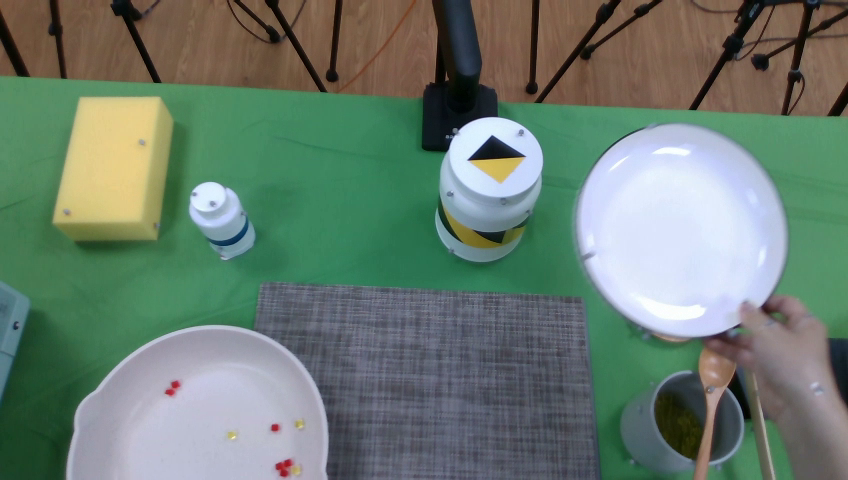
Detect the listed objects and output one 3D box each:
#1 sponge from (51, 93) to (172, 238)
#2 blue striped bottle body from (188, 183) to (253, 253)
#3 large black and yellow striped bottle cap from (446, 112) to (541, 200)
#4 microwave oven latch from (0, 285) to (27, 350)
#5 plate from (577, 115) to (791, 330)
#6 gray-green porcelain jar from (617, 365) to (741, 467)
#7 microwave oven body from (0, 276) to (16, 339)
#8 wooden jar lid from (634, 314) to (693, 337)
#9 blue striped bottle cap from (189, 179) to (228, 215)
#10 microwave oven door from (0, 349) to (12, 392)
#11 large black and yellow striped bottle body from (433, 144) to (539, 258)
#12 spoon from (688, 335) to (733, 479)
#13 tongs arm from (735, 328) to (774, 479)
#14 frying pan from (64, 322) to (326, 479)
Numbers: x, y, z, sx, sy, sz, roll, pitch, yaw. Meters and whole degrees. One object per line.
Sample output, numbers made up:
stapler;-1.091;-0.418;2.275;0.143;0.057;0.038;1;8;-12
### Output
sponge;-0.441;-0.108;0.867;0.118;0.061;0.205;-2;67;-4
blue striped bottle body;-0.273;-0.033;0.810;0.063;0.121;0.062;1;66;-2
large black and yellow striped bottle cap;0.084;-0.103;0.732;0.115;0.019;0.114;1;68;-2
microwave oven latch;-0.531;0.097;0.766;0.030;0.030;0.078;6;67;-1
plate;0.248;-0.016;0.590;0.209;0.038;0.208;1;80;-4
gray-green porcelain jar;0.297;0.215;0.727;0.106;0.127;0.105;1;66;-2
microwave oven body;-0.683;0.211;0.604;0.326;0.262;0.438;3;67;-2
wooden jar lid;0.337;0.084;0.844;0.108;0.021;0.107;1;68;-2
blue striped bottle cap;-0.272;-0.055;0.764;0.044;0.021;0.044;1;68;-2
microwave oven door;-0.538;0.255;0.586;0.039;0.245;0.353;3;66;-1
large black and yellow striped bottle body;0.080;-0.067;0.808;0.131;0.185;0.129;1;66;-2
spoon;0.304;0.197;0.659;0.041;0.022;0.193;18;71;2
tongs arm;0.427;0.296;0.716;0.051;0.026;0.382;-2;77;-6
frying pan;-0.290;0.328;0.661;0.306;0.103;0.485;17;60;8
